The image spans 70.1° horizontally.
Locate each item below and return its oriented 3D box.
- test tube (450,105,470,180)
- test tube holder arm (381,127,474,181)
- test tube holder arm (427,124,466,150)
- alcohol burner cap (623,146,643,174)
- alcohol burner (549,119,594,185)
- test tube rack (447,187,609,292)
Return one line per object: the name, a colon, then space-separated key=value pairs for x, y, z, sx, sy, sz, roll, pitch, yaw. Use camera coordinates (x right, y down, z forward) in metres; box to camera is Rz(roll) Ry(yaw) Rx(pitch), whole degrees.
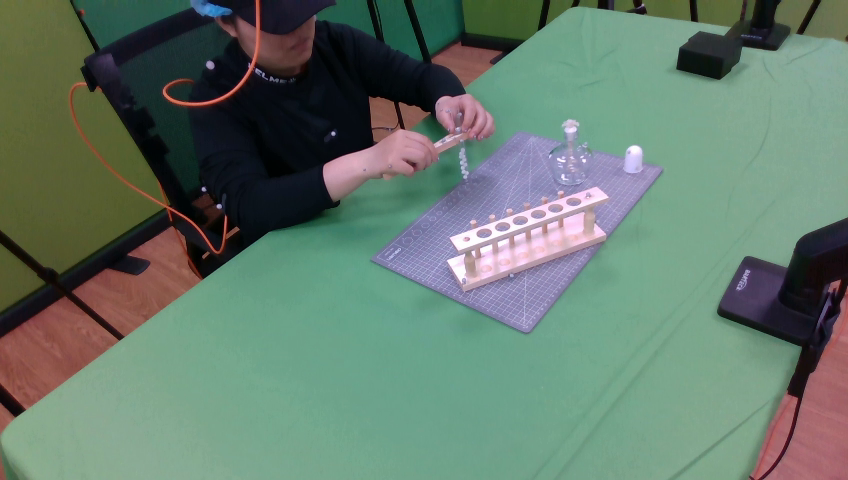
test tube: x=0.064 y=-0.166 z=1.052 sx=0.017 sy=0.151 sz=0.017 roll=-8 pitch=42 yaw=7
test tube holder arm: x=0.007 y=-0.146 z=1.018 sx=0.179 sy=0.015 sz=0.013 roll=-30 pitch=38 yaw=-15
test tube holder arm: x=0.039 y=-0.171 z=1.036 sx=0.088 sy=0.015 sz=0.010 roll=-39 pitch=42 yaw=-25
alcohol burner cap: x=0.369 y=-0.142 z=1.061 sx=0.034 sy=0.048 sz=0.033 roll=-7 pitch=41 yaw=6
alcohol burner: x=0.254 y=-0.155 z=1.043 sx=0.078 sy=0.120 sz=0.077 roll=-7 pitch=40 yaw=7
test tube rack: x=0.155 y=-0.011 z=0.913 sx=0.243 sy=0.085 sz=0.066 roll=-19 pitch=41 yaw=-12
